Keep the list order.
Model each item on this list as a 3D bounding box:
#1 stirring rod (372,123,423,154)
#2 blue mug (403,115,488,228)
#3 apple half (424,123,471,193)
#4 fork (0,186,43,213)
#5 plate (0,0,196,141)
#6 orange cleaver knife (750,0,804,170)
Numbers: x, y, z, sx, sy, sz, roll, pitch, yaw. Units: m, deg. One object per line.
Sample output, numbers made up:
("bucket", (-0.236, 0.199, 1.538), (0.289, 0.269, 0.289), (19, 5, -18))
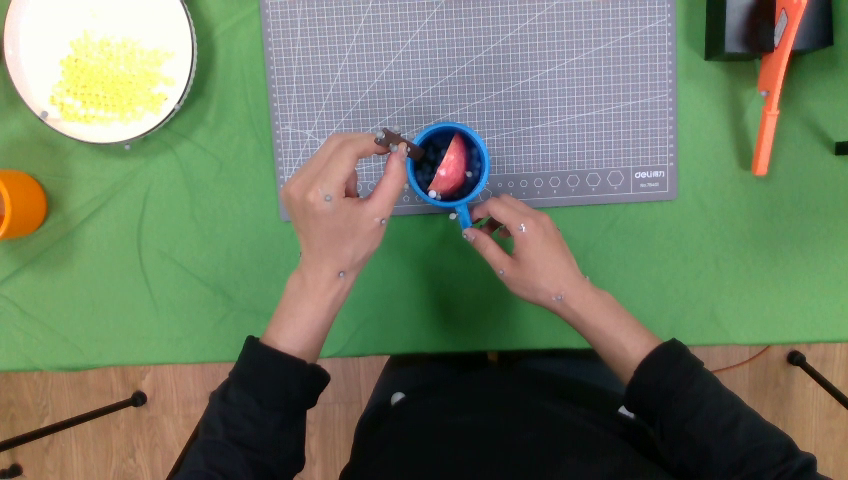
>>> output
("stirring rod", (-0.019, -0.084, 0.514), (0.006, 0.176, 0.014), (38, 99, 4))
("blue mug", (0.028, -0.068, 0.634), (0.082, 0.105, 0.117), (-18, 96, 4))
("apple half", (0.032, -0.080, 0.623), (0.032, 0.081, 0.081), (26, 97, 8))
("fork", (-0.515, -0.054, 0.626), (0.209, 0.018, 0.028), (9, 97, -44))
("plate", (-0.348, -0.213, 0.658), (0.209, 0.038, 0.209), (0, 98, 2))
("orange cleaver knife", (0.359, -0.178, 0.627), (0.012, 0.076, 0.213), (0, 124, 10))
